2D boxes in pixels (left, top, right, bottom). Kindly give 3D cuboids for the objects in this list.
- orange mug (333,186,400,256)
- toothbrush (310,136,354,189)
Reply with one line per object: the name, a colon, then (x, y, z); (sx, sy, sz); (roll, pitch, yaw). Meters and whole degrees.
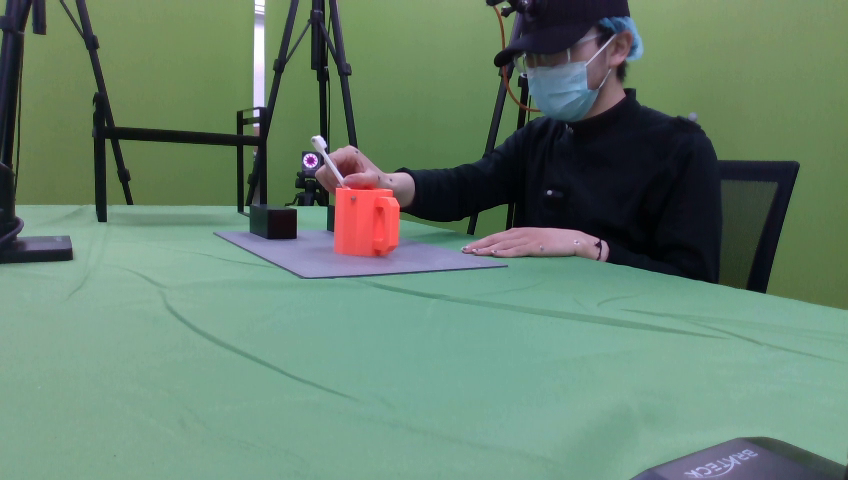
orange mug: (-0.081, -0.029, 0.888); (0.084, 0.100, 0.125); (-3, 5, -41)
toothbrush: (-0.112, -0.080, 0.906); (0.014, 0.182, 0.016); (-33, 11, 15)
